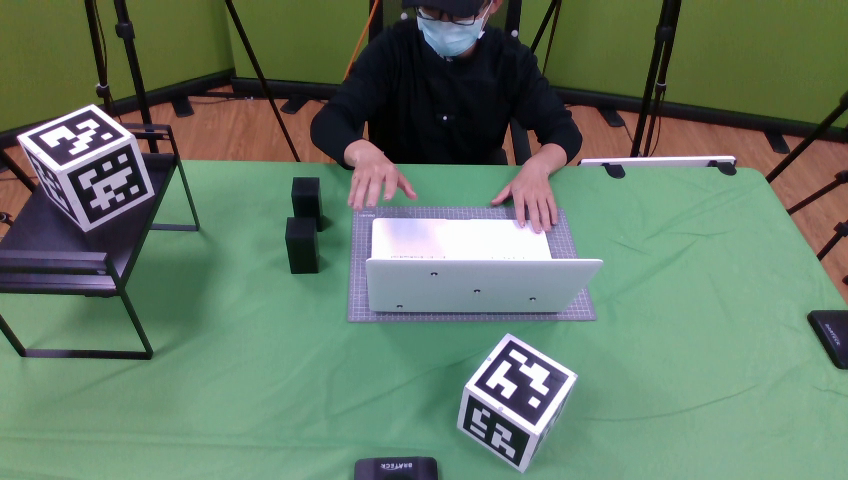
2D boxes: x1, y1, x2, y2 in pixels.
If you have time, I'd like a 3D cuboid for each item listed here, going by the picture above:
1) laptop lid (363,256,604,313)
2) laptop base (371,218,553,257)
[{"bbox_3d":[0.084,0.076,0.972,0.357,0.242,0.013,1,64,-5],"label":"laptop lid"},{"bbox_3d":[0.074,0.044,1.159,0.354,0.023,0.234,0,43,-3],"label":"laptop base"}]
